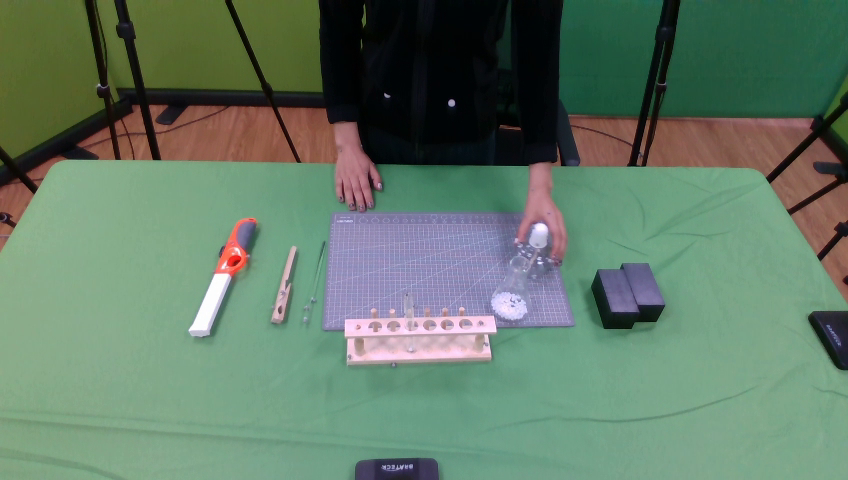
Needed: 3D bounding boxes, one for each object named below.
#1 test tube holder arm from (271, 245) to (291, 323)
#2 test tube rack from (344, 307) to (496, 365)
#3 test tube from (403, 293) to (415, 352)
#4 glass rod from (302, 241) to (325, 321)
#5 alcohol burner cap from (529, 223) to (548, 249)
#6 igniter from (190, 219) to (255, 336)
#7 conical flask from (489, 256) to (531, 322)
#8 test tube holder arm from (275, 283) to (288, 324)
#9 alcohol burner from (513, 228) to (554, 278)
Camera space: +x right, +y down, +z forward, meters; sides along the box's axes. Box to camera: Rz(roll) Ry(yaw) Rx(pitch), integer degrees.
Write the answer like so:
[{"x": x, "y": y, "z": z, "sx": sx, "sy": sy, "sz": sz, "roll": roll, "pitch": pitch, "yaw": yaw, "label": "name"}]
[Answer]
[{"x": -0.260, "y": 0.076, "z": 1.106, "sx": 0.013, "sy": 0.015, "sz": 0.177, "roll": 28, "pitch": 38, "yaw": -29, "label": "test tube holder arm"}, {"x": -0.009, "y": 0.154, "z": 1.007, "sx": 0.242, "sy": 0.085, "sz": 0.066, "roll": -1, "pitch": 46, "yaw": -5, "label": "test tube rack"}, {"x": -0.024, "y": 0.133, "z": 0.957, "sx": 0.017, "sy": 0.151, "sz": 0.017, "roll": 0, "pitch": 48, "yaw": 0, "label": "test tube"}, {"x": -0.203, "y": 0.071, "z": 1.124, "sx": 0.008, "sy": 0.008, "sz": 0.198, "roll": 4, "pitch": 44, "yaw": 1, "label": "glass rod"}, {"x": 0.210, "y": -0.010, "z": 1.108, "sx": 0.034, "sy": 0.048, "sz": 0.033, "roll": -1, "pitch": 50, "yaw": 1, "label": "alcohol burner cap"}, {"x": -0.365, "y": 0.058, "z": 1.110, "sx": 0.057, "sy": 0.025, "sz": 0.275, "roll": -1, "pitch": 45, "yaw": 8, "label": "igniter"}, {"x": 0.158, "y": 0.081, "z": 1.061, "sx": 0.075, "sy": 0.122, "sz": 0.075, "roll": 2, "pitch": 46, "yaw": -2, "label": "conical flask"}, {"x": -0.254, "y": 0.110, "z": 1.077, "sx": 0.010, "sy": 0.015, "sz": 0.087, "roll": 29, "pitch": 38, "yaw": -28, "label": "test tube holder arm"}, {"x": 0.209, "y": 0.015, "z": 1.135, "sx": 0.078, "sy": 0.119, "sz": 0.077, "roll": 4, "pitch": 46, "yaw": -4, "label": "alcohol burner"}]
